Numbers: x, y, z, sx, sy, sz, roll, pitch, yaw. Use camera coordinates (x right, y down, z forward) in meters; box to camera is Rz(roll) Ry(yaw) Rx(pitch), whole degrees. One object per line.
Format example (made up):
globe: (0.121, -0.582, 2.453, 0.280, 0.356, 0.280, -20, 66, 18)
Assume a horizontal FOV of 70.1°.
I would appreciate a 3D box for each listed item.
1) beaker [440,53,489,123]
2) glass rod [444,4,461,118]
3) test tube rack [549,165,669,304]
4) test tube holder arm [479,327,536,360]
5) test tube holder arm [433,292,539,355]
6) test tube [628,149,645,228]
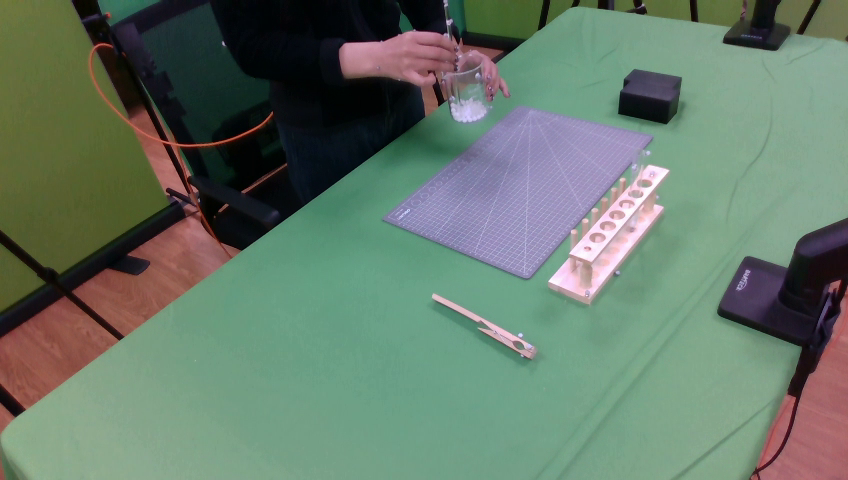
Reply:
beaker: (0.072, -0.262, 1.059, 0.084, 0.101, 0.073, -31, 42, -19)
glass rod: (0.049, -0.293, 1.009, 0.008, 0.200, 0.008, -6, 40, 6)
test tube rack: (0.279, -0.018, 0.902, 0.066, 0.085, 0.243, 24, 50, 33)
test tube holder arm: (0.110, 0.134, 0.805, 0.087, 0.015, 0.010, 29, 83, 36)
test tube holder arm: (0.081, 0.113, 0.832, 0.177, 0.015, 0.013, 28, 82, 36)
test tube: (0.309, -0.071, 0.882, 0.017, 0.151, 0.017, -7, 47, 8)
